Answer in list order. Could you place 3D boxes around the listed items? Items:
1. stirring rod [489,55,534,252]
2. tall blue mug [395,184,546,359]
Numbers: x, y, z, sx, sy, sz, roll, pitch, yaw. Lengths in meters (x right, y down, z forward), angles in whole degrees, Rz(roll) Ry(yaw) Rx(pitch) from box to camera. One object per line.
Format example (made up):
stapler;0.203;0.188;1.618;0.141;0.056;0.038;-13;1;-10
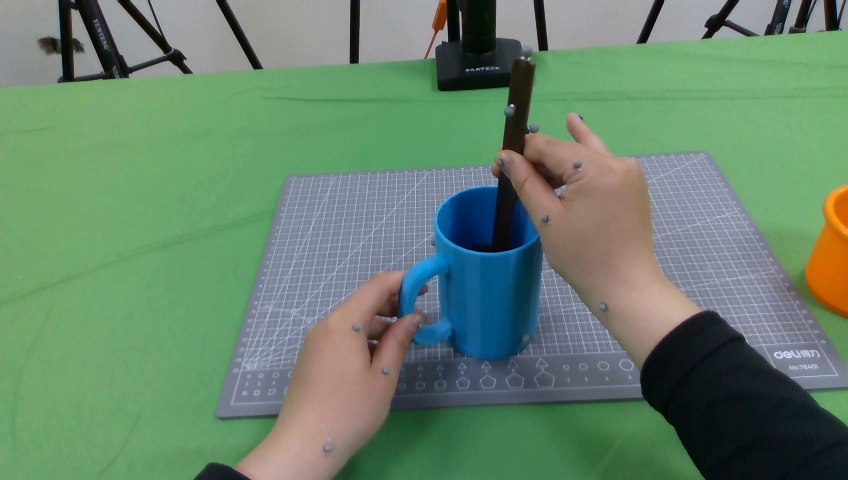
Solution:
stirring rod;0.056;-0.042;0.401;0.014;0.178;0.006;22;52;19
tall blue mug;0.038;0.033;0.436;0.077;0.109;0.107;20;47;24
